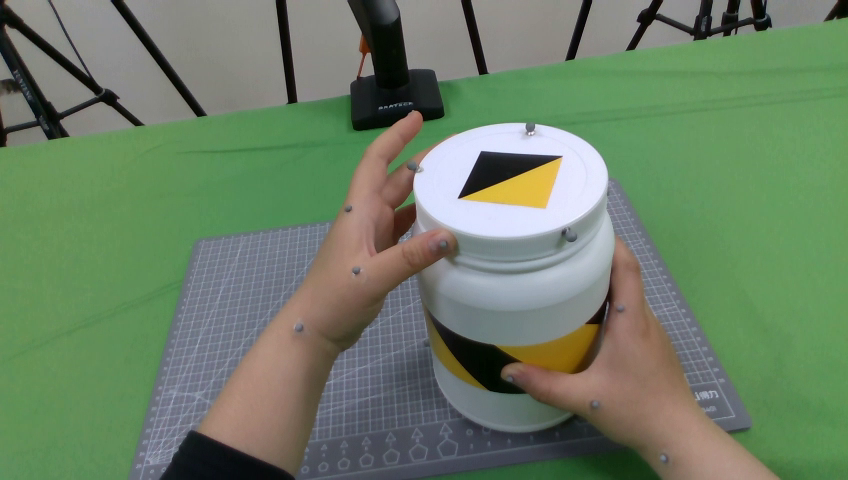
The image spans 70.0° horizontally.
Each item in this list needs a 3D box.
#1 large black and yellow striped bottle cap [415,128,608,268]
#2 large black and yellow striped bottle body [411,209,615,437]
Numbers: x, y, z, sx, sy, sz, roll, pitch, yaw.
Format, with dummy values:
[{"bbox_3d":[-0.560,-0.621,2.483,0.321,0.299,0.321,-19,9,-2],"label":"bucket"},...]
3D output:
[{"bbox_3d":[0.051,-0.030,0.364,0.115,0.019,0.114,-4,43,5],"label":"large black and yellow striped bottle cap"},{"bbox_3d":[0.061,0.035,0.420,0.131,0.186,0.129,-5,42,5],"label":"large black and yellow striped bottle body"}]
